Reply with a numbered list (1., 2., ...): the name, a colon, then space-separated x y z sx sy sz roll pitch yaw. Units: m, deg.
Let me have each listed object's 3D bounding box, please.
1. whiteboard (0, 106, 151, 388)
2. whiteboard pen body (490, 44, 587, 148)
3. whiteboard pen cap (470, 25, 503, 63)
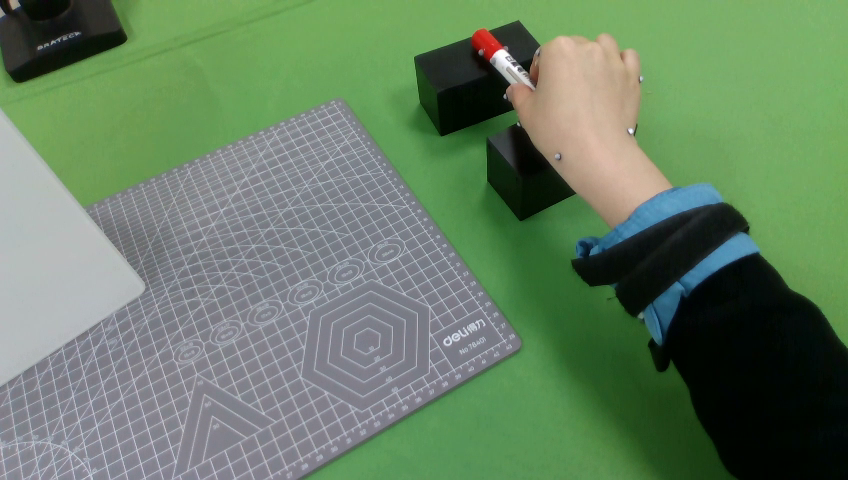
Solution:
1. whiteboard: -0.369 -0.040 0.376 0.217 0.309 0.142 -36 40 -17
2. whiteboard pen body: 0.080 -0.120 0.467 0.017 0.017 0.139 -26 58 -11
3. whiteboard pen cap: 0.053 -0.161 0.498 0.017 0.017 0.032 -25 59 -11
